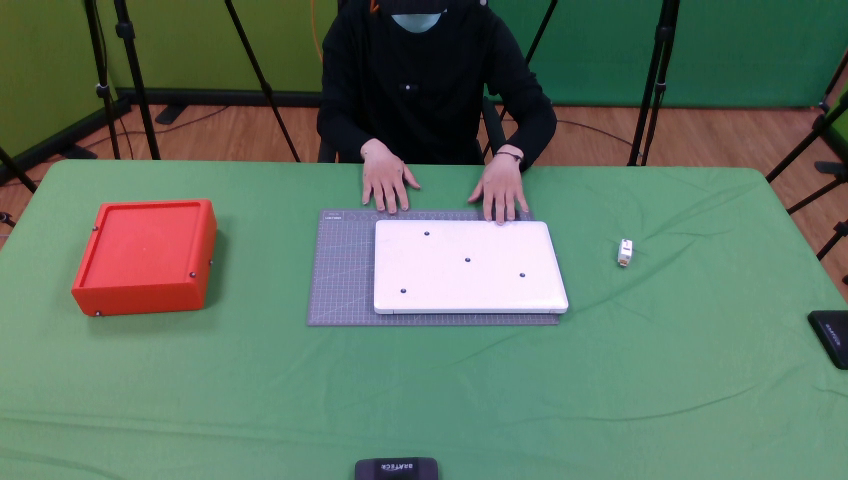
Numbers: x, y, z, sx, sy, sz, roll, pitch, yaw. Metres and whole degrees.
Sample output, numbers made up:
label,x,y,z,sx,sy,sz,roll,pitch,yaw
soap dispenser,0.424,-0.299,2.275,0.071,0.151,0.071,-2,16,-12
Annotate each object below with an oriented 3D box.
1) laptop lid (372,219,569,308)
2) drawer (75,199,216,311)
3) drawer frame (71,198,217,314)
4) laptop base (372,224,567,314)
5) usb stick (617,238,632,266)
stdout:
label,x,y,z,sx,sy,sz,roll,pitch,yaw
laptop lid,0.081,0.039,1.152,0.357,0.013,0.240,2,44,-3
drawer,-0.494,0.022,1.097,0.195,0.073,0.210,-2,47,-8
drawer frame,-0.493,0.023,1.096,0.202,0.083,0.212,-3,47,-8
laptop base,0.080,0.049,1.159,0.355,0.023,0.234,0,43,-4
usb stick,0.397,0.025,1.200,0.021,0.027,0.059,16,50,8
